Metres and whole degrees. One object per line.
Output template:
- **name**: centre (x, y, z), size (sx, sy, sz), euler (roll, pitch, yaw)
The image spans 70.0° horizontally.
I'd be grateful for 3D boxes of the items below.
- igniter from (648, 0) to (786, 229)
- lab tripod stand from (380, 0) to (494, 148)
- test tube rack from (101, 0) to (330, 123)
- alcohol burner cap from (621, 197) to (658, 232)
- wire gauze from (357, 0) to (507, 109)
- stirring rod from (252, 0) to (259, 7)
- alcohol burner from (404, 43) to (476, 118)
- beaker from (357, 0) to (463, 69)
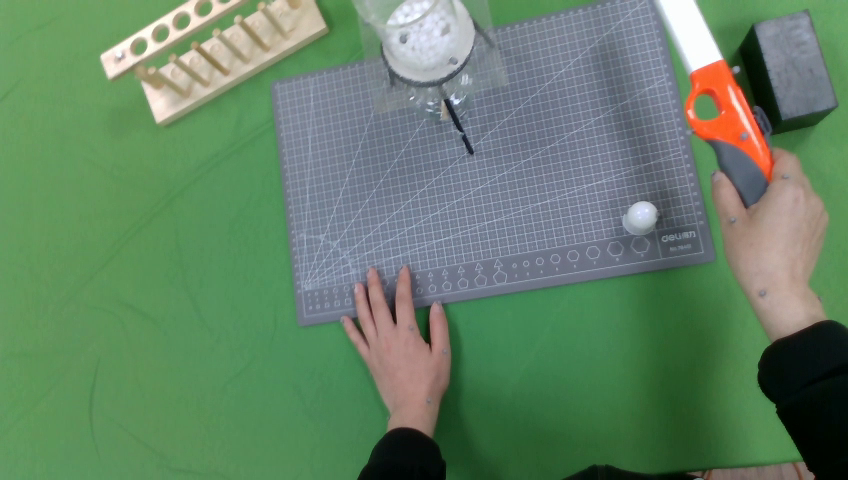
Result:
- **igniter**: centre (0.245, -0.141, 0.529), size (0.057, 0.025, 0.275), euler (-22, 77, 14)
- **lab tripod stand**: centre (0.019, -0.178, 0.621), size (0.148, 0.132, 0.148), euler (-1, 83, 10)
- **test tube rack**: centre (-0.242, -0.236, 0.712), size (0.242, 0.085, 0.066), euler (-27, 77, 7)
- **alcohol burner cap**: centre (0.217, -0.028, 0.606), size (0.034, 0.048, 0.033), euler (-2, 81, 10)
- **wire gauze**: centre (0.005, -0.188, 0.558), size (0.125, 0.011, 0.121), euler (-10, 84, 8)
- **stirring rod**: centre (-0.212, -0.304, 0.634), size (0.006, 0.177, 0.014), euler (-26, 72, 1)
- **alcohol burner**: centre (0.014, -0.173, 0.632), size (0.078, 0.119, 0.077), euler (-1, 81, 10)
- **beaker**: centre (-0.011, -0.195, 0.512), size (0.084, 0.101, 0.074), euler (3, 84, 13)
